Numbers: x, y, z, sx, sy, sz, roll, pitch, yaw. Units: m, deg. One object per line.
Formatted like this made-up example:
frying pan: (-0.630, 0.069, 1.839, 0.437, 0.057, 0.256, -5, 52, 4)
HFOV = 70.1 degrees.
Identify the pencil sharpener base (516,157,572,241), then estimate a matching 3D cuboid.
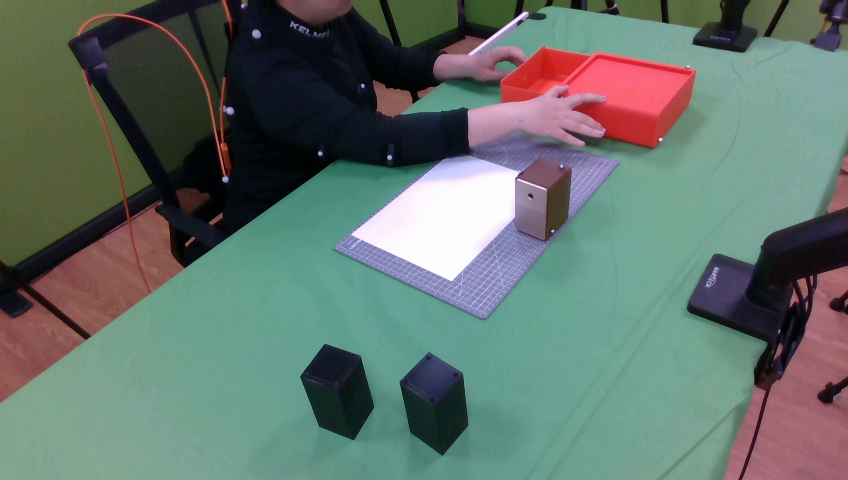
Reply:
pencil sharpener base: (0.189, -0.065, 0.948, 0.061, 0.107, 0.077, 24, 49, 33)

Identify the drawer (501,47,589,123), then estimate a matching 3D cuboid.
drawer: (0.296, -0.316, 1.256, 0.210, 0.073, 0.195, 21, 47, 29)

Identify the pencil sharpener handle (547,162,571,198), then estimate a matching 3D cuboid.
pencil sharpener handle: (0.222, -0.101, 0.967, 0.035, 0.068, 0.031, 18, 46, 38)

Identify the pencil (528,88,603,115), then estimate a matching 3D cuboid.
pencil: (0.300, -0.295, 1.273, 0.195, 0.012, 0.012, -21, 42, -19)

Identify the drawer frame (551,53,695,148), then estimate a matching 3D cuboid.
drawer frame: (0.390, -0.281, 1.196, 0.212, 0.083, 0.202, 22, 48, 30)
